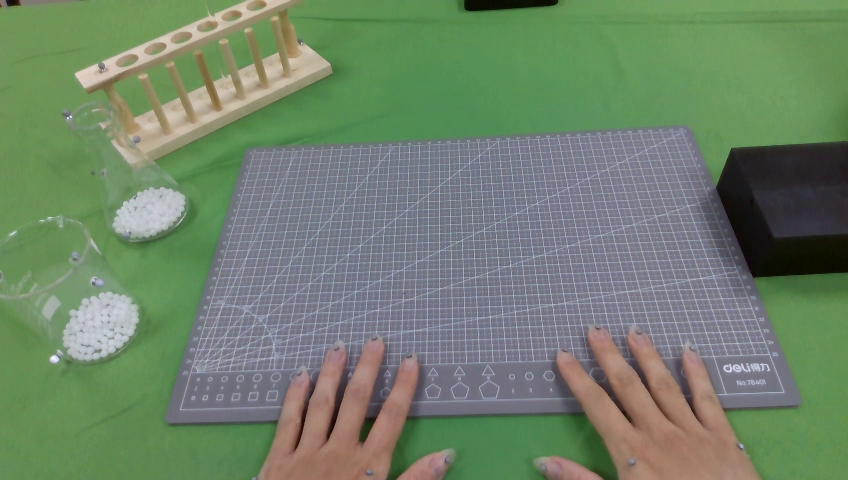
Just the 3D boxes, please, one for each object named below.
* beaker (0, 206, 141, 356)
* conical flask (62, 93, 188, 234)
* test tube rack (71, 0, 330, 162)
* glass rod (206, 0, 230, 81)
[{"bbox_3d":[-0.269,0.034,0.463,0.074,0.101,0.083,-5,50,1],"label":"beaker"},{"bbox_3d":[-0.265,-0.068,0.531,0.075,0.123,0.074,-2,50,3],"label":"conical flask"},{"bbox_3d":[-0.227,-0.187,0.648,0.242,0.086,0.066,-33,55,-20],"label":"test tube rack"},{"bbox_3d":[-0.221,-0.253,0.616,0.008,0.201,0.008,1,43,0],"label":"glass rod"}]
